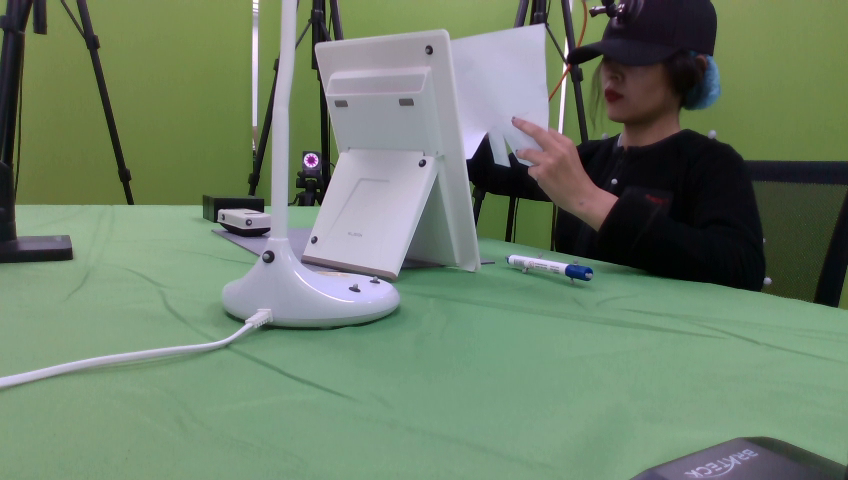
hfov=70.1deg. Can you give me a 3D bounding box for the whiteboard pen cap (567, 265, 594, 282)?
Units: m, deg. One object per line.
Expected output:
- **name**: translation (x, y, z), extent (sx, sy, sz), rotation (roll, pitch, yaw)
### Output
- **whiteboard pen cap**: translation (0.185, 0.040, 0.722), extent (0.018, 0.018, 0.033), rotation (-2, 6, -33)

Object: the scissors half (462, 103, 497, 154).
- **scissors half**: translation (0.103, -0.201, 1.083), extent (0.013, 0.040, 0.174), rotation (40, 22, -37)

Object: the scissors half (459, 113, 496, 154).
- **scissors half**: translation (0.089, -0.188, 1.088), extent (0.013, 0.040, 0.174), rotation (34, 10, -36)

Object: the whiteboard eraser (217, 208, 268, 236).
- **whiteboard eraser**: translation (-0.309, -0.031, 1.044), extent (0.056, 0.042, 0.112), rotation (-2, 9, -40)

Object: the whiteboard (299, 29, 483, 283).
- **whiteboard**: translation (-0.074, -0.082, 0.742), extent (0.216, 0.305, 0.144), rotation (9, 29, 38)

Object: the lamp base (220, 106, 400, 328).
- **lamp base**: translation (-0.102, -0.023, 0.531), extent (0.160, 0.180, 0.179), rotation (4, 10, 10)

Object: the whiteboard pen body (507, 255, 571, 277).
- **whiteboard pen body**: translation (0.155, 0.034, 0.772), extent (0.017, 0.017, 0.140), rotation (-2, 7, -31)
